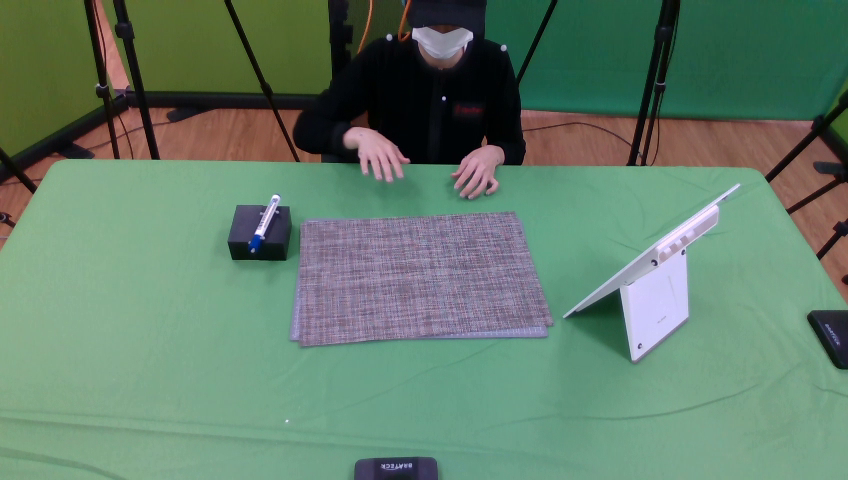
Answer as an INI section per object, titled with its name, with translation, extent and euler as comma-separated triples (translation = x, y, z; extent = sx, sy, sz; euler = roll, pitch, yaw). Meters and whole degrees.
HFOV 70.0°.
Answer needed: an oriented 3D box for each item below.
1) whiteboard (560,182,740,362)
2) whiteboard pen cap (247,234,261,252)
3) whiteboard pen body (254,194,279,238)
[whiteboard]
translation = 0.406, 0.075, 1.001
extent = 0.217, 0.306, 0.143
euler = -28, 73, -28
[whiteboard pen cap]
translation = -0.308, 0.005, 1.103
extent = 0.018, 0.018, 0.033
euler = 8, 45, 3
[whiteboard pen body]
translation = -0.300, -0.038, 1.145
extent = 0.017, 0.017, 0.140
euler = 8, 46, 3
